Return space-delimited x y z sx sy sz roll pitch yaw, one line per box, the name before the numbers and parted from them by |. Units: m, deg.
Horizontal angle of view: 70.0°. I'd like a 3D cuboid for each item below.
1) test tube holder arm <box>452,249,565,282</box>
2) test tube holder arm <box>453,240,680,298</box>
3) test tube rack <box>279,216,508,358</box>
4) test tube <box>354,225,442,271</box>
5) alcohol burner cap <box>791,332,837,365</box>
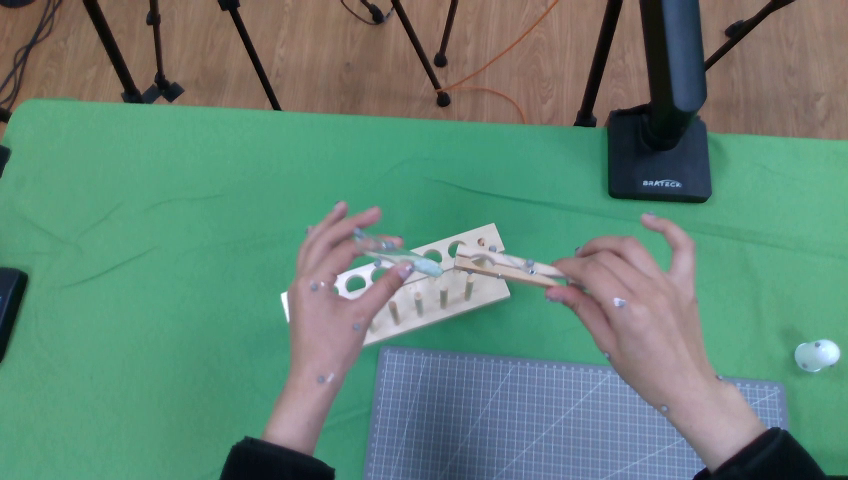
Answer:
test tube holder arm | 0.065 0.020 0.468 0.088 0.015 0.010 10 81 -1
test tube holder arm | 0.111 0.023 0.470 0.178 0.015 0.013 10 81 -1
test tube rack | -0.028 0.055 0.678 0.242 0.086 0.066 -18 70 -4
test tube | -0.017 0.010 0.512 0.017 0.151 0.017 -4 78 22
alcohol burner cap | 0.427 0.117 0.660 0.034 0.048 0.033 -1 70 3
